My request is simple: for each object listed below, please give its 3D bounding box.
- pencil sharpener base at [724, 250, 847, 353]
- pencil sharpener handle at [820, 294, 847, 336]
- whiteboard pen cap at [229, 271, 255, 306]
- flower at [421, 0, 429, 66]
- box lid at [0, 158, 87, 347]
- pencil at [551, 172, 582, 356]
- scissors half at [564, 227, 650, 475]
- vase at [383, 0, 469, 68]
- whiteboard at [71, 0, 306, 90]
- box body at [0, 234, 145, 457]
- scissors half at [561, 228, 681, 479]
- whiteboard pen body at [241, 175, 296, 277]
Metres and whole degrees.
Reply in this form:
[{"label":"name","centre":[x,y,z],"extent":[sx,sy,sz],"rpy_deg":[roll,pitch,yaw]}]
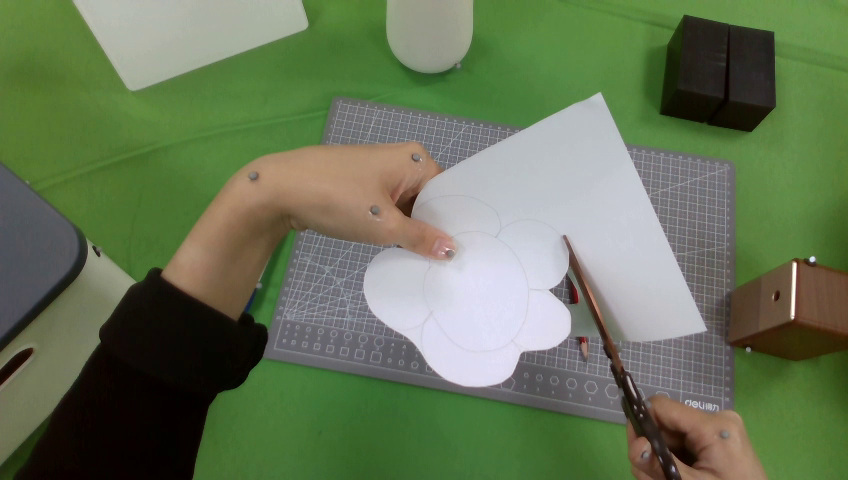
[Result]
[{"label":"pencil sharpener base","centre":[0.340,0.060,0.557],"extent":[0.077,0.107,0.061],"rpy_deg":[14,70,0]},{"label":"pencil sharpener handle","centre":[0.390,0.070,0.545],"extent":[0.030,0.068,0.036],"rpy_deg":[14,64,1]},{"label":"whiteboard pen cap","centre":[-0.177,0.047,0.593],"extent":[0.018,0.018,0.033],"rpy_deg":[16,66,5]},{"label":"flower","centre":[-0.001,-0.311,0.544],"extent":[0.044,0.365,0.038],"rpy_deg":[3,52,4]},{"label":"box lid","centre":[-0.468,-0.008,0.453],"extent":[0.370,0.015,0.262],"rpy_deg":[36,73,10]},{"label":"pencil","centre":[0.146,0.021,0.617],"extent":[0.012,0.012,0.193],"rpy_deg":[-3,73,-2]},{"label":"scissors half","centre":[0.115,0.070,0.372],"extent":[0.013,0.040,0.176],"rpy_deg":[-21,108,7]},{"label":"vase","centre":[0.002,-0.269,0.618],"extent":[0.098,0.201,0.097],"rpy_deg":[0,69,0]},{"label":"whiteboard","centre":[-0.282,-0.351,0.616],"extent":[0.217,0.308,0.142],"rpy_deg":[-23,53,-9]},{"label":"box body","centre":[-0.468,0.019,0.522],"extent":[0.362,0.161,0.253],"rpy_deg":[36,74,11]},{"label":"scissors half","centre":[0.114,0.073,0.351],"extent":[0.013,0.040,0.175],"rpy_deg":[-22,86,2]},{"label":"whiteboard pen body","centre":[-0.161,-0.005,0.615],"extent":[0.017,0.017,0.140],"rpy_deg":[16,69,5]}]
